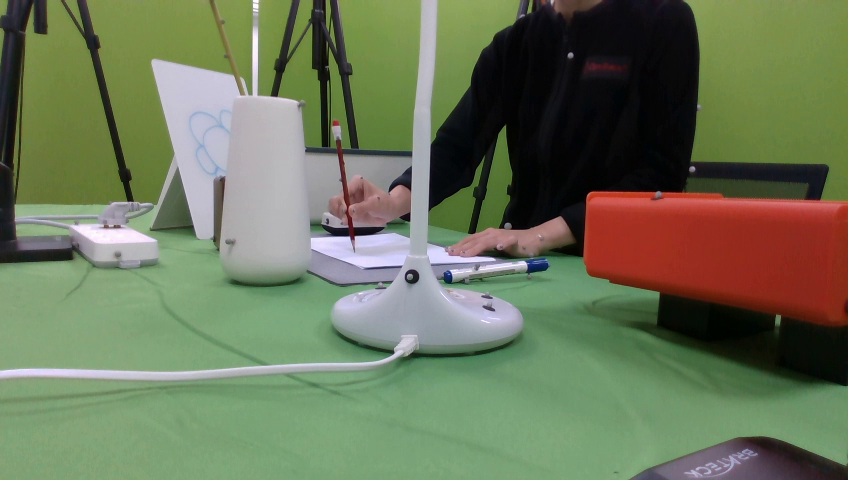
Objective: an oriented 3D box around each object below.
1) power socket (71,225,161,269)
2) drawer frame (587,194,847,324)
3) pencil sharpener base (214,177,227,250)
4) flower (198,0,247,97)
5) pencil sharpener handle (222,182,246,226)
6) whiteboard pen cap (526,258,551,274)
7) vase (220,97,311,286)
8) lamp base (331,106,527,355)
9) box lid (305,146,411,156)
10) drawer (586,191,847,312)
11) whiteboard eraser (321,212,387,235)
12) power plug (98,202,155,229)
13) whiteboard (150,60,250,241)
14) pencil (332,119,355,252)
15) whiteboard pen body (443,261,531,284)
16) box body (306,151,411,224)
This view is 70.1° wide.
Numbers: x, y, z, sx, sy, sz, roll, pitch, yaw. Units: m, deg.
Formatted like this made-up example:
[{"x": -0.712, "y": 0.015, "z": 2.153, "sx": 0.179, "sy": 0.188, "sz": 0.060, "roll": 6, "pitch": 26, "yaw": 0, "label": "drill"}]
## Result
[{"x": -0.408, "y": 0.004, "z": 0.793, "sx": 0.072, "sy": 0.032, "sz": 0.225, "roll": -2, "pitch": 8, "yaw": -38, "label": "power socket"}, {"x": 0.286, "y": 0.004, "z": 0.508, "sx": 0.203, "sy": 0.082, "sz": 0.212, "roll": -1, "pitch": 6, "yaw": -30, "label": "drawer frame"}, {"x": -0.265, "y": -0.036, "z": 0.870, "sx": 0.061, "sy": 0.107, "sz": 0.076, "roll": -2, "pitch": 8, "yaw": -29, "label": "pencil sharpener base"}, {"x": -0.187, "y": -0.133, "z": 0.648, "sx": 0.038, "sy": 0.362, "sz": 0.044, "roll": -1, "pitch": 22, "yaw": 43, "label": "flower"}, {"x": -0.289, "y": -0.055, "z": 0.912, "sx": 0.036, "sy": 0.067, "sz": 0.030, "roll": -4, "pitch": 9, "yaw": -29, "label": "pencil sharpener handle"}, {"x": 0.141, "y": 0.033, "z": 0.759, "sx": 0.033, "sy": 0.018, "sz": 0.018, "roll": -7, "pitch": 11, "yaw": -26, "label": "whiteboard pen cap"}, {"x": -0.172, "y": -0.052, "z": 0.662, "sx": 0.098, "sy": 0.200, "sz": 0.098, "roll": 3, "pitch": 8, "yaw": 0, "label": "vase"}, {"x": 0.006, "y": -0.012, "z": 0.478, "sx": 0.161, "sy": 0.180, "sz": 0.179, "roll": 2, "pitch": 10, "yaw": 2, "label": "lamp base"}, {"x": -0.229, "y": -0.200, "z": 1.360, "sx": 0.373, "sy": 0.015, "sz": 0.262, "roll": -3, "pitch": 9, "yaw": -33, "label": "box lid"}, {"x": 0.281, "y": 0.001, "z": 0.513, "sx": 0.195, "sy": 0.073, "sz": 0.210, "roll": -1, "pitch": 8, "yaw": -29, "label": "drawer"}, {"x": -0.128, "y": -0.031, "z": 1.108, "sx": 0.113, "sy": 0.042, "sz": 0.055, "roll": -3, "pitch": 7, "yaw": -38, "label": "whiteboard eraser"}, {"x": -0.416, "y": -0.027, "z": 0.848, "sx": 0.073, "sy": 0.052, "sz": 0.035, "roll": 0, "pitch": 8, "yaw": -28, "label": "power plug"}, {"x": -0.408, "y": -0.139, "z": 1.093, "sx": 0.143, "sy": 0.305, "sz": 0.218, "roll": -15, "pitch": -1, "yaw": 26, "label": "whiteboard"}, {"x": -0.115, "y": -0.078, "z": 0.876, "sx": 0.012, "sy": 0.194, "sz": 0.012, "roll": -8, "pitch": 4, "yaw": 1, "label": "pencil"}, {"x": 0.087, "y": 0.038, "z": 0.734, "sx": 0.141, "sy": 0.017, "sz": 0.017, "roll": -5, "pitch": 10, "yaw": -27, "label": "whiteboard pen body"}, {"x": -0.230, "y": -0.126, "z": 1.371, "sx": 0.366, "sy": 0.160, "sz": 0.253, "roll": -2, "pitch": 8, "yaw": -33, "label": "box body"}]
